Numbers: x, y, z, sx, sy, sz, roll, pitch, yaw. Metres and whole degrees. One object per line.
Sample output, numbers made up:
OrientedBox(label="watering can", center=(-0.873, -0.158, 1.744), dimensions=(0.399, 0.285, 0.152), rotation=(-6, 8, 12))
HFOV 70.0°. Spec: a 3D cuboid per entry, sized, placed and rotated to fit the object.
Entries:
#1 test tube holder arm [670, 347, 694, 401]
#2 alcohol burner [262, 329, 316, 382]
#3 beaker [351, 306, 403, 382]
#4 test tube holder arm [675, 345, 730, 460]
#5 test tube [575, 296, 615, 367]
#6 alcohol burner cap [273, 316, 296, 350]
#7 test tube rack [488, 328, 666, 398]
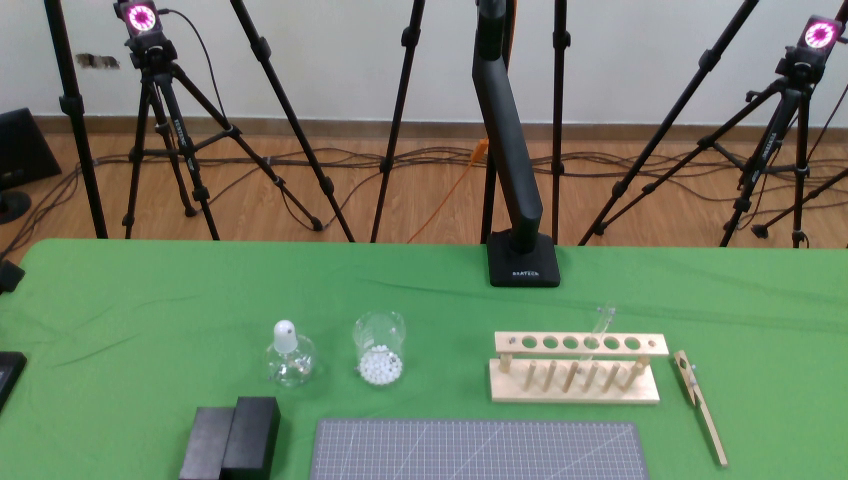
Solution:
OrientedBox(label="test tube holder arm", center=(0.392, 0.201, 0.912), dimensions=(0.010, 0.015, 0.087), rotation=(-28, 45, 21))
OrientedBox(label="alcohol burner", center=(-0.197, 0.152, 0.871), dimensions=(0.078, 0.120, 0.077), rotation=(0, 46, 0))
OrientedBox(label="beaker", center=(-0.065, 0.154, 0.885), dimensions=(0.073, 0.101, 0.084), rotation=(32, 53, 25))
OrientedBox(label="test tube holder arm", center=(0.402, 0.232, 0.881), dimensions=(0.013, 0.015, 0.176), rotation=(-29, 45, 20))
OrientedBox(label="test tube", center=(0.239, 0.132, 0.856), dimensions=(0.017, 0.151, 0.017), rotation=(4, 44, -4))
OrientedBox(label="alcohol burner cap", center=(-0.196, 0.126, 0.846), dimensions=(0.034, 0.048, 0.033), rotation=(5, 41, -4))
OrientedBox(label="test tube rack", center=(0.219, 0.179, 0.880), dimensions=(0.242, 0.086, 0.066), rotation=(1, 47, -1))
